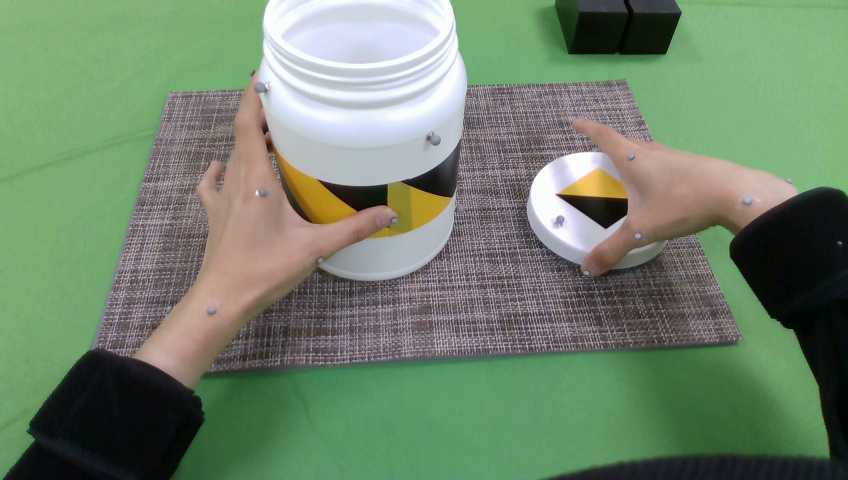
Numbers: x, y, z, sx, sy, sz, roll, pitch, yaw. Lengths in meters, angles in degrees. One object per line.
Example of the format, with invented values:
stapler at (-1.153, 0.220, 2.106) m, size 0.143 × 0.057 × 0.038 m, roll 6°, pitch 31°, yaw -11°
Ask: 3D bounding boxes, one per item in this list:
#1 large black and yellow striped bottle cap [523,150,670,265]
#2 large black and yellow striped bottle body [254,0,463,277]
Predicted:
large black and yellow striped bottle cap at (0.138, -0.029, 0.489) m, size 0.115 × 0.019 × 0.114 m, roll 1°, pitch 50°, yaw 0°
large black and yellow striped bottle body at (-0.041, -0.076, 0.416) m, size 0.131 × 0.185 × 0.129 m, roll 1°, pitch 51°, yaw -1°
